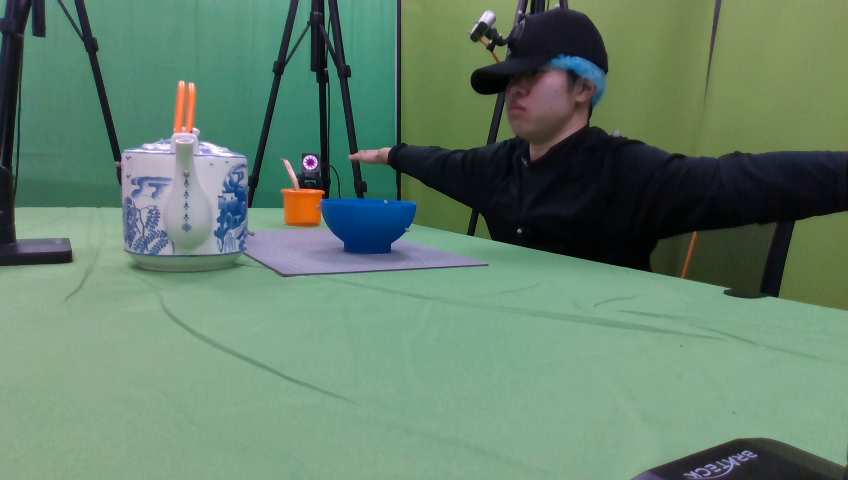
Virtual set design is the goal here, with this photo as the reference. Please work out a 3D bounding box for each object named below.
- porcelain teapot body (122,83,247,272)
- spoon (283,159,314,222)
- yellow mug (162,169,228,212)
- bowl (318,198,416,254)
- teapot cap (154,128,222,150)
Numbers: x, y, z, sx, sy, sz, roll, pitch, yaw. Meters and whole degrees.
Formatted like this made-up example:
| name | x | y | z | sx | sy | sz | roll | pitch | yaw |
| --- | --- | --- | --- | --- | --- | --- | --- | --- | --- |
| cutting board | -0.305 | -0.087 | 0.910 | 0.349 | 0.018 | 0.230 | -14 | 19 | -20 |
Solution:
| name | x | y | z | sx | sy | sz | roll | pitch | yaw |
| --- | --- | --- | --- | --- | --- | --- | --- | --- | --- |
| porcelain teapot body | -0.286 | -0.075 | 0.733 | 0.146 | 0.225 | 0.204 | 0 | 8 | -24 |
| spoon | -0.280 | -0.111 | 1.323 | 0.042 | 0.193 | 0.021 | 1 | -38 | -35 |
| yellow mug | -0.366 | -0.082 | 0.995 | 0.100 | 0.064 | 0.131 | 5 | 7 | 16 |
| bowl | -0.089 | -0.022 | 0.941 | 0.151 | 0.077 | 0.151 | 2 | 7 | 0 |
| teapot cap | -0.294 | -0.117 | 0.754 | 0.085 | 0.044 | 0.085 | 4 | 9 | 0 |
